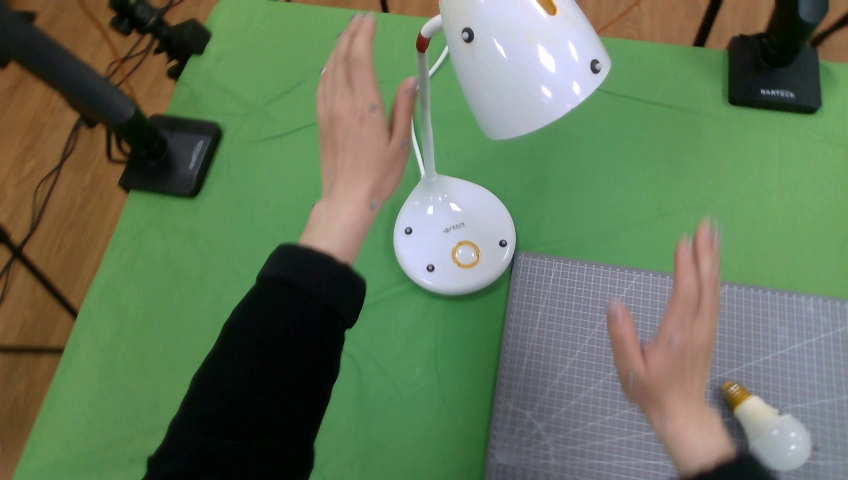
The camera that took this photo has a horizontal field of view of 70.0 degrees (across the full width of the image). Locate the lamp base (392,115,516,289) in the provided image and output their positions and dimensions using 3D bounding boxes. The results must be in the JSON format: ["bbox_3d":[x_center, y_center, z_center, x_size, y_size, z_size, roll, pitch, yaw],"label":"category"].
[{"bbox_3d":[0.027,-0.052,0.721,0.160,0.182,0.177,-30,65,-9],"label":"lamp base"}]

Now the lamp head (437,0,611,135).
[{"bbox_3d":[0.062,-0.159,0.455,0.112,0.111,0.124,-46,113,-14],"label":"lamp head"}]

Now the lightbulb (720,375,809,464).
[{"bbox_3d":[0.367,0.193,0.662,0.059,0.060,0.106,-27,52,-7],"label":"lightbulb"}]
